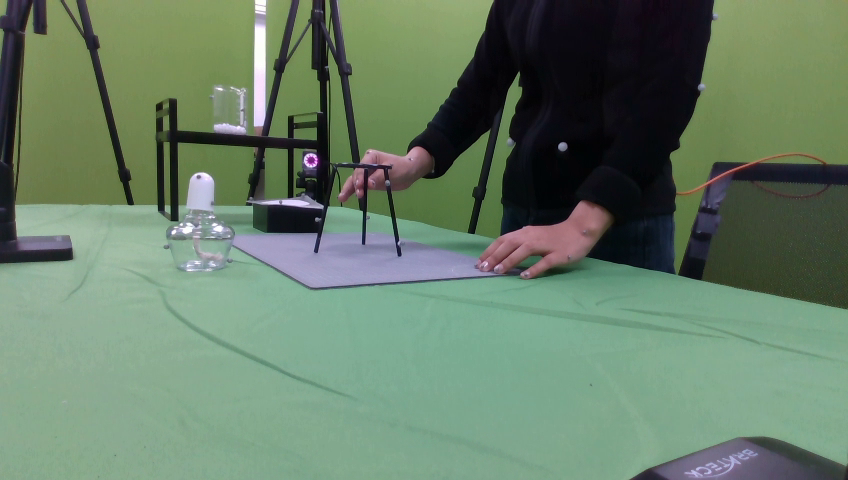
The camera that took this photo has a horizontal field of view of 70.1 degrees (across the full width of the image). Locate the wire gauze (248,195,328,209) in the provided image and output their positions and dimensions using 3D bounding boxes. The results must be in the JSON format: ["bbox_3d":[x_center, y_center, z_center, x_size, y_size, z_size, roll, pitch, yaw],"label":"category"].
[{"bbox_3d":[-0.259,-0.071,1.138,0.126,0.011,0.121,-3,12,-28],"label":"wire gauze"}]

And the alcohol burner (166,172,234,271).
[{"bbox_3d":[-0.271,-0.023,0.735,0.078,0.119,0.078,2,5,0],"label":"alcohol burner"}]

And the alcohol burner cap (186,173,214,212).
[{"bbox_3d":[-0.268,-0.057,0.730,0.034,0.048,0.034,5,2,0],"label":"alcohol burner cap"}]

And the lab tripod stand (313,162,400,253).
[{"bbox_3d":[-0.097,-0.051,0.906,0.148,0.131,0.148,1,6,0],"label":"lab tripod stand"}]

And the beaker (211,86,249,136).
[{"bbox_3d":[-0.413,-0.274,1.297,0.074,0.100,0.083,-5,11,-44],"label":"beaker"}]
